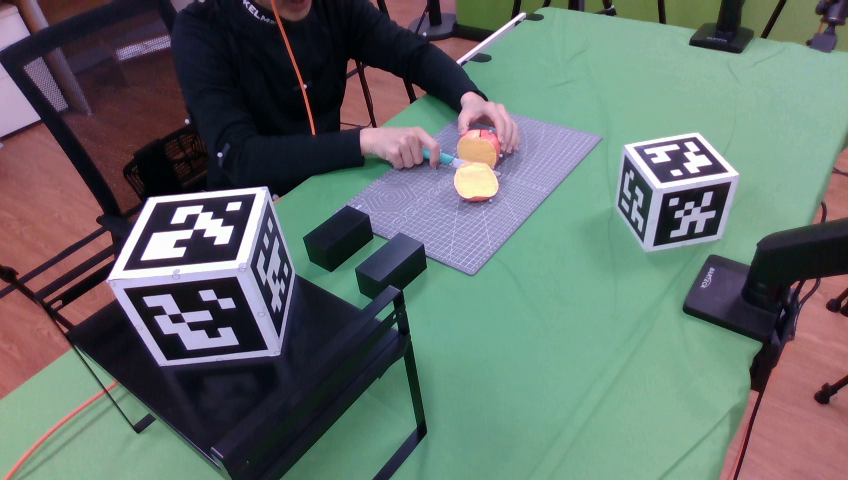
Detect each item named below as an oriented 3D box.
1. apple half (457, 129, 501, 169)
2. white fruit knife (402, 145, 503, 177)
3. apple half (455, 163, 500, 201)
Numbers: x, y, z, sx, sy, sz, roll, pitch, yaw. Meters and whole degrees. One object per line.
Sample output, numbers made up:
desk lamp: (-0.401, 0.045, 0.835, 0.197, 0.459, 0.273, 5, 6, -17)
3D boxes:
apple half: (0.106, -0.167, 1.107, 0.080, 0.075, 0.053, 9, 39, 23)
white fruit knife: (0.050, -0.147, 1.125, 0.206, 0.027, 0.016, 17, 50, 21)
apple half: (0.090, -0.096, 1.053, 0.081, 0.033, 0.081, 2, 59, -4)
